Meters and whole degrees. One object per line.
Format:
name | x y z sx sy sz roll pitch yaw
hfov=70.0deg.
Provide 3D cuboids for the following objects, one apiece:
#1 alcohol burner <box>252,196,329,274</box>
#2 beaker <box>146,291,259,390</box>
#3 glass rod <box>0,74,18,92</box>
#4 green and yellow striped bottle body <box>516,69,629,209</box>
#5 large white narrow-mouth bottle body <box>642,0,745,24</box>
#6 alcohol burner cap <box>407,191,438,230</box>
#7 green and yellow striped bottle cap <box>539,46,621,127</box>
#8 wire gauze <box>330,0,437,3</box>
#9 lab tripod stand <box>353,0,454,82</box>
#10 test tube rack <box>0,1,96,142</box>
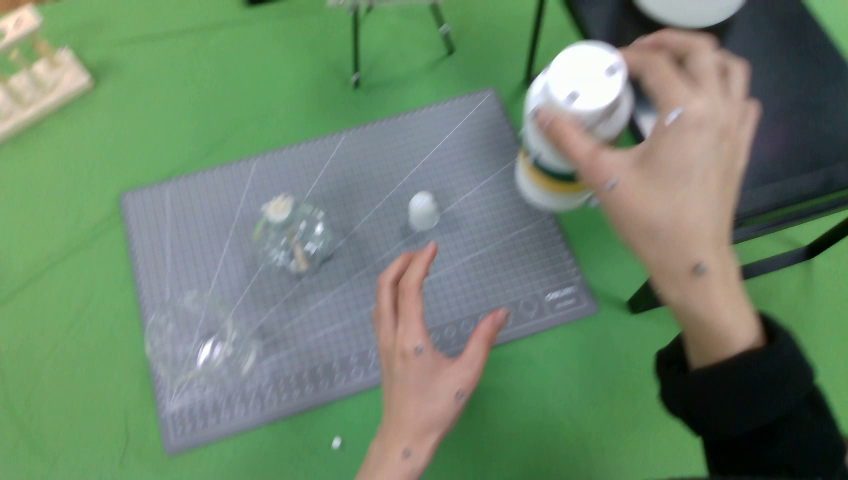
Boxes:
alcohol burner | -0.135 -0.010 0.601 0.078 0.120 0.077 0 66 0
beaker | -0.202 0.102 0.566 0.074 0.101 0.083 9 69 6
glass rod | -0.506 -0.222 0.638 0.008 0.201 0.008 -4 64 8
green and yellow striped bottle body | 0.095 -0.071 0.398 0.063 0.120 0.063 -1 71 4
large white narrow-mouth bottle body | 0.233 -0.265 0.459 0.102 0.196 0.101 -1 69 3
alcohol burner cap | -0.002 -0.034 0.646 0.034 0.048 0.033 0 68 1
green and yellow striped bottle cap | 0.090 -0.089 0.349 0.045 0.020 0.045 -1 71 3
wire gauze | -0.033 -0.297 0.631 0.121 0.011 0.124 3 69 1
lab tripod stand | -0.037 -0.268 0.692 0.148 0.132 0.147 0 67 0
test tube rack | -0.515 -0.158 0.685 0.242 0.086 0.066 -38 72 -13
